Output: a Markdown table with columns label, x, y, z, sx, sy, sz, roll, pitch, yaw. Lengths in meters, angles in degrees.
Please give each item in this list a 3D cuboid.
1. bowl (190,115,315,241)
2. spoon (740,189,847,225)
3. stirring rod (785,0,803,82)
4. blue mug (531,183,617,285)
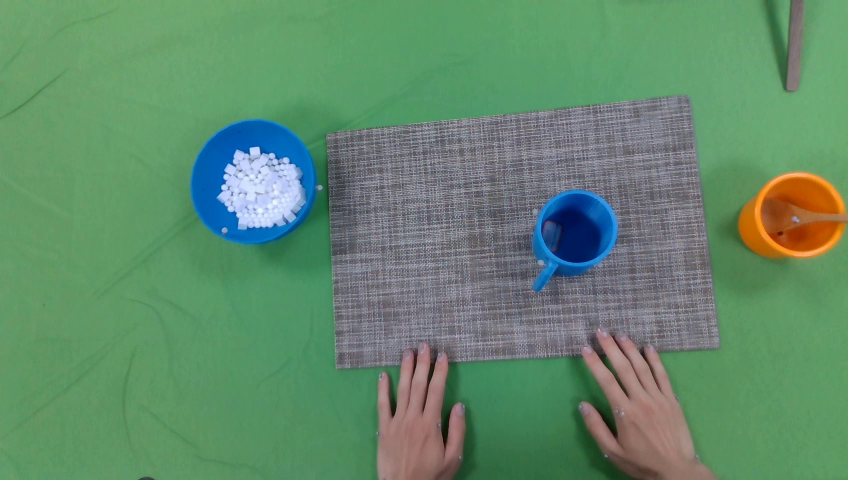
| label | x | y | z | sx | sy | sz | roll | pitch | yaw |
| --- | --- | --- | --- | --- | --- | --- | --- | --- | --- |
| bowl | -0.198 | -0.069 | 0.743 | 0.151 | 0.077 | 0.151 | -1 | 83 | 7 |
| spoon | 0.428 | -0.030 | 0.626 | 0.022 | 0.192 | 0.041 | 21 | 83 | -35 |
| stirring rod | 0.429 | -0.272 | 0.697 | 0.014 | 0.006 | 0.176 | -3 | 102 | 4 |
| blue mug | 0.154 | 0.002 | 0.674 | 0.082 | 0.106 | 0.116 | 33 | 88 | 10 |
